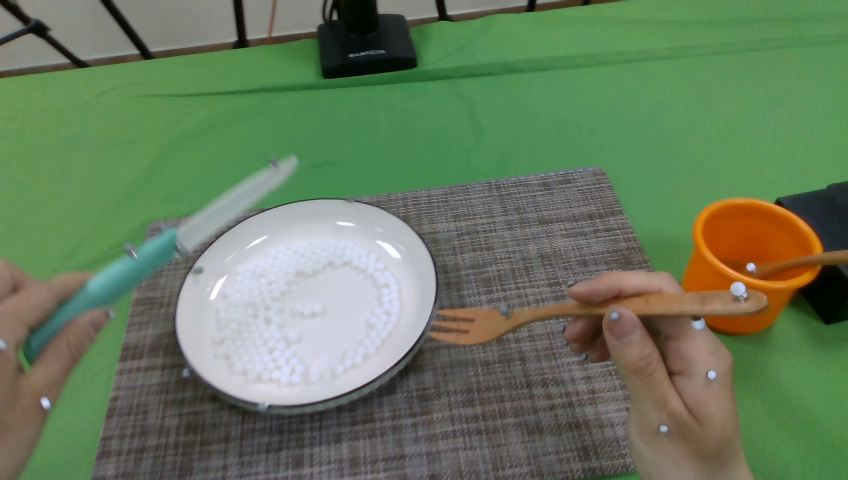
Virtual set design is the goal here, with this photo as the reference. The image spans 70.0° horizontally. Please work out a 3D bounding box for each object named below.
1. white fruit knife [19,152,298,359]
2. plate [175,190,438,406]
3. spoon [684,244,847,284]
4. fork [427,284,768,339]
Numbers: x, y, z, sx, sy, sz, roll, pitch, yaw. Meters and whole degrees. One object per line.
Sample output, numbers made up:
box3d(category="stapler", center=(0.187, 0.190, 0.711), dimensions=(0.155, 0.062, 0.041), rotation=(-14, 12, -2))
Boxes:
box3d(category="white fruit knife", center=(-0.163, 0.001, 0.389), dimensions=(0.016, 0.028, 0.207), rotation=(36, 64, 29))
box3d(category="plate", center=(-0.091, 0.043, 0.495), dimensions=(0.209, 0.038, 0.207), rotation=(-1, 48, 2))
box3d(category="spoon", center=(0.275, 0.014, 0.435), dimensions=(0.041, 0.193, 0.022), rotation=(-36, 100, -28))
box3d(category="fork", center=(0.077, 0.038, 0.335), dimensions=(0.206, 0.019, 0.028), rotation=(-14, 41, 47))
